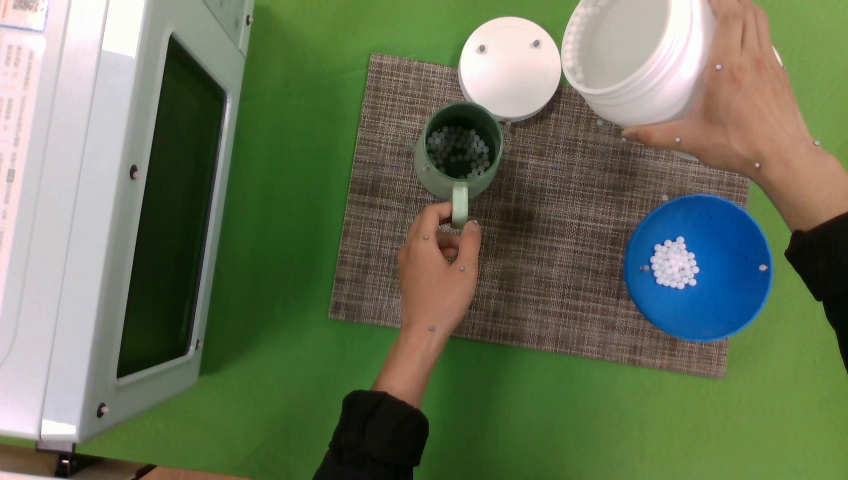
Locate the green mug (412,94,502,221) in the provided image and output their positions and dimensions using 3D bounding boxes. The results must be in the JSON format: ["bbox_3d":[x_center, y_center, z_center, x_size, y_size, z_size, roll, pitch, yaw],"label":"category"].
[{"bbox_3d":[0.034,-0.082,0.630,0.092,0.105,0.125,0,88,-3],"label":"green mug"}]

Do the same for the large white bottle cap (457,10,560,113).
[{"bbox_3d":[0.094,-0.200,0.677,0.115,0.018,0.114,0,84,-2],"label":"large white bottle cap"}]

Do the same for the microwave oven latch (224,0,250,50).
[{"bbox_3d":[-0.202,-0.246,0.645,0.030,0.029,0.079,8,89,-2],"label":"microwave oven latch"}]

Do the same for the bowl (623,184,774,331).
[{"bbox_3d":[0.278,0.019,0.649,0.151,0.077,0.151,0,88,-1],"label":"bowl"}]

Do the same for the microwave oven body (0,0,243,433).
[{"bbox_3d":[-0.369,-0.094,0.538,0.326,0.260,0.441,7,88,-2],"label":"microwave oven body"}]

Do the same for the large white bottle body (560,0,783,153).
[{"bbox_3d":[0.223,-0.164,0.551,0.186,0.129,0.130,12,87,-37],"label":"large white bottle body"}]

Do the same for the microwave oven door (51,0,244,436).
[{"bbox_3d":[-0.229,-0.034,0.536,0.039,0.244,0.355,7,88,-1],"label":"microwave oven door"}]
